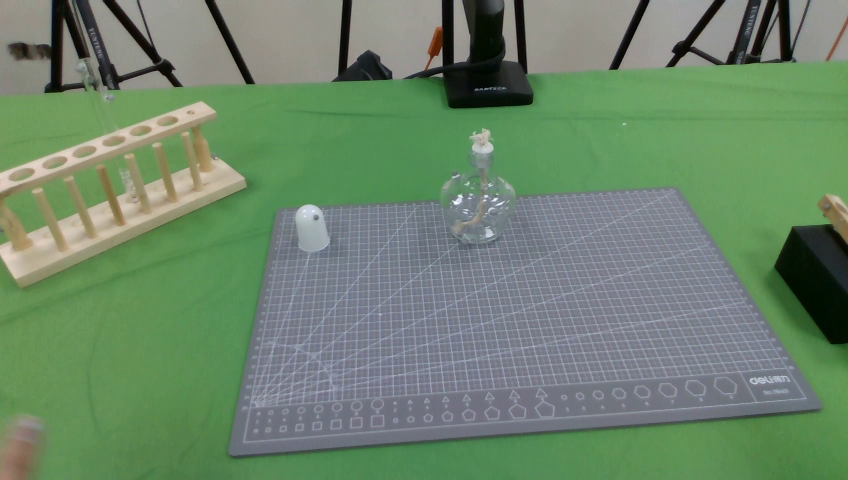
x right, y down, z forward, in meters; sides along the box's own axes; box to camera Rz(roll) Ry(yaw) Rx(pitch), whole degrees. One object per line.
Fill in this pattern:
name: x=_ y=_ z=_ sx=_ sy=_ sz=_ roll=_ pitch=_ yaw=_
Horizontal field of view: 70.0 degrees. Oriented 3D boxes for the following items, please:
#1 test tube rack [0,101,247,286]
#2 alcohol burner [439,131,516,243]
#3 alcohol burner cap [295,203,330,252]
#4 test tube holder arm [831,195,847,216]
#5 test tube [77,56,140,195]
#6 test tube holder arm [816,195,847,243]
test tube rack: x=-0.315 y=-0.056 z=0.628 sx=0.242 sy=0.086 sz=0.066 roll=-31 pitch=49 yaw=-31
alcohol burner: x=0.054 y=-0.056 z=0.598 sx=0.078 sy=0.120 sz=0.077 roll=1 pitch=42 yaw=0
alcohol burner cap: x=-0.113 y=-0.016 z=0.607 sx=0.034 sy=0.048 sz=0.033 roll=0 pitch=41 yaw=0
test tube holder arm: x=0.386 y=0.020 z=0.507 sx=0.013 sy=0.015 sz=0.176 roll=-2 pitch=41 yaw=-2
test tube: x=-0.317 y=-0.111 z=0.616 sx=0.017 sy=0.151 sz=0.017 roll=-2 pitch=36 yaw=2
test tube holder arm: x=0.378 y=-0.010 z=0.541 sx=0.010 sy=0.015 sz=0.087 roll=-1 pitch=41 yaw=-1
